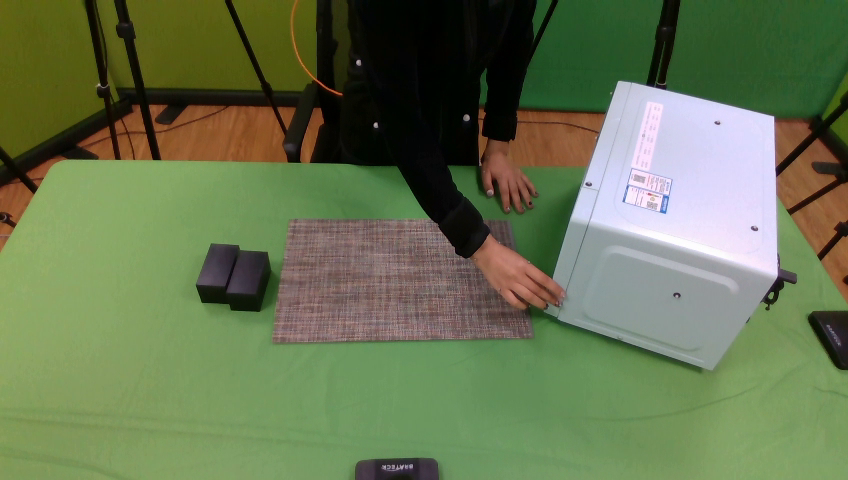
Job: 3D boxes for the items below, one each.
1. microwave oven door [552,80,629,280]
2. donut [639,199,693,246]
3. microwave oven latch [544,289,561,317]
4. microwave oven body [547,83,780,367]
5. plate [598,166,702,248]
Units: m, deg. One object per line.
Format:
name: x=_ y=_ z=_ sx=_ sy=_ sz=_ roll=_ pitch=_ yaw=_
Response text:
microwave oven door: x=0.324 y=-0.115 z=1.156 sx=0.039 sy=0.245 sz=0.354 roll=18 pitch=48 yaw=13
donut: x=0.463 y=-0.034 z=1.160 sx=0.099 sy=0.048 sz=0.098 roll=-1 pitch=62 yaw=1
microwave oven latch: x=0.237 y=0.099 z=1.086 sx=0.030 sy=0.029 sz=0.079 roll=18 pitch=47 yaw=14
microwave oven body: x=0.445 y=-0.041 z=1.100 sx=0.325 sy=0.261 sz=0.440 roll=17 pitch=47 yaw=13
plate: x=0.432 y=-0.061 z=1.175 sx=0.209 sy=0.038 sz=0.208 roll=8 pitch=47 yaw=-9
